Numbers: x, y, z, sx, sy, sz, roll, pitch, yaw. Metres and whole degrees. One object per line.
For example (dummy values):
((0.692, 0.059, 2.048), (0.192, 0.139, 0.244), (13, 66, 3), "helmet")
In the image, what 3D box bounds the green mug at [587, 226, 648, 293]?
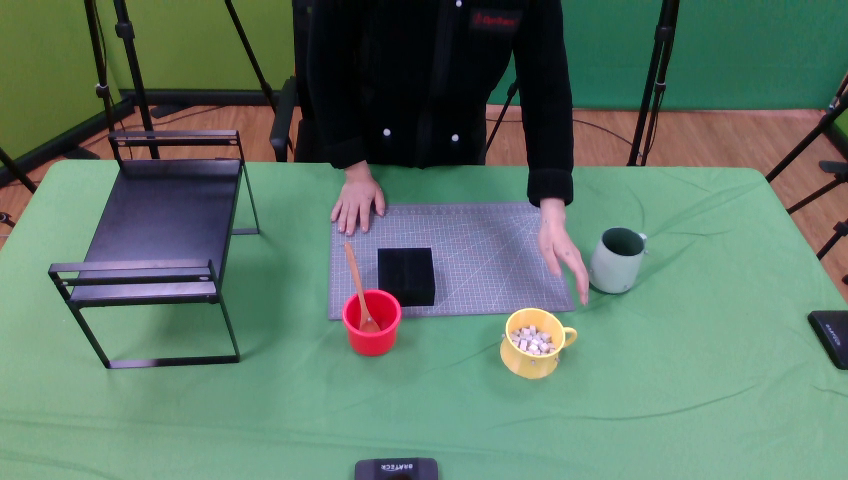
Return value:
((0.372, 0.030, 1.136), (0.125, 0.105, 0.092), (-27, 53, -26), "green mug")

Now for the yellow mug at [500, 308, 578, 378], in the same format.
((0.197, 0.169, 1.018), (0.131, 0.064, 0.099), (-7, 47, -12), "yellow mug")

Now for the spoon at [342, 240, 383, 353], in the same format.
((-0.106, 0.094, 1.014), (0.041, 0.021, 0.193), (-14, 93, -13), "spoon")
